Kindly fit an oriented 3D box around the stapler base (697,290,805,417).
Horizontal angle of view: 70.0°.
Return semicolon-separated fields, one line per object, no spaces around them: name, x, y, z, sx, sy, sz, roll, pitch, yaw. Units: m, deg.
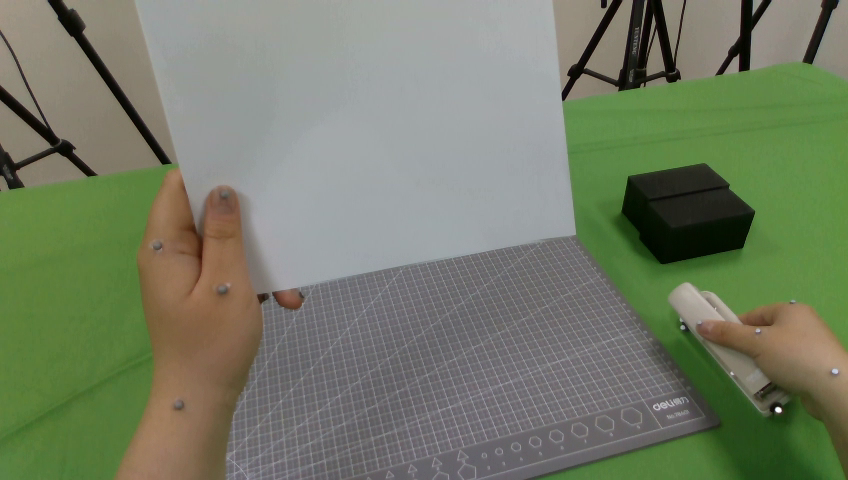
stapler base;0.272;0.093;0.538;0.024;0.041;0.129;24;25;-35

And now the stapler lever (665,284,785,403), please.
stapler lever;0.254;0.084;0.521;0.040;0.027;0.116;24;25;-36
